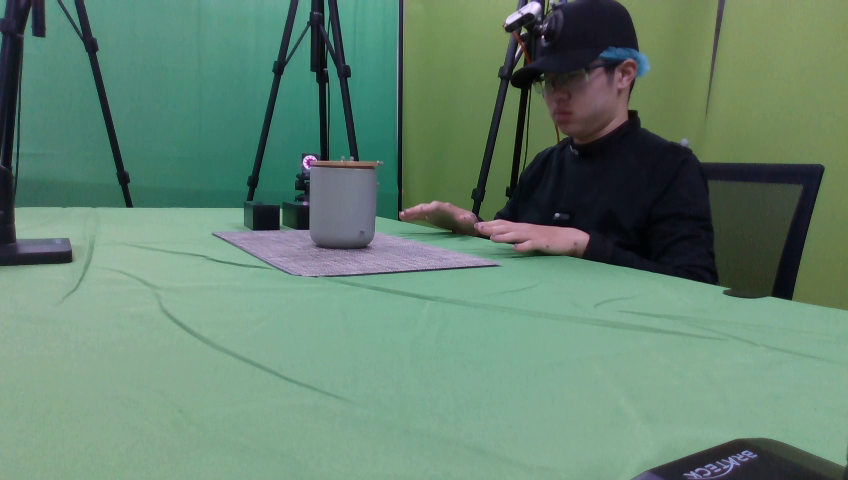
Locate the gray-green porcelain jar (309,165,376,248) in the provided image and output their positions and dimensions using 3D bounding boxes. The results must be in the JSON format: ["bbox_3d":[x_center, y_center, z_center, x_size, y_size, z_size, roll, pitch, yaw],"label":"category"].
[{"bbox_3d":[-0.130,-0.054,0.966,0.106,0.126,0.106,2,7,0],"label":"gray-green porcelain jar"}]

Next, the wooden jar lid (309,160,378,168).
[{"bbox_3d":[-0.127,-0.117,0.957,0.108,0.020,0.108,1,7,0],"label":"wooden jar lid"}]
